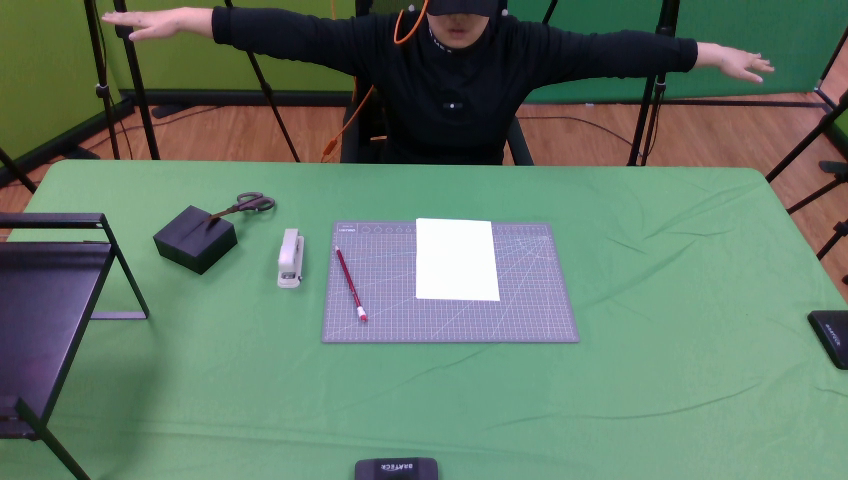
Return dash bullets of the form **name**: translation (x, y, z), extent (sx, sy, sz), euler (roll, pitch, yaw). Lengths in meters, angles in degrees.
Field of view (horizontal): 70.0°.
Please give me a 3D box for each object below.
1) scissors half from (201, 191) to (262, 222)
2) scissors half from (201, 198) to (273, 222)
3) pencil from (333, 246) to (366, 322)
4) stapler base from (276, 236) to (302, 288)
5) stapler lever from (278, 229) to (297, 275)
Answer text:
- **scissors half**: translation (-0.381, -0.066, 1.198), extent (0.040, 0.013, 0.175), euler (25, 28, 9)
- **scissors half**: translation (-0.365, -0.055, 1.192), extent (0.040, 0.013, 0.175), euler (39, 32, 22)
- **pencil**: translation (-0.140, 0.076, 1.117), extent (0.012, 0.012, 0.192), euler (-14, 48, -17)
- **stapler base**: translation (-0.254, 0.034, 1.144), extent (0.041, 0.024, 0.129), euler (1, 44, -7)
- **stapler lever**: translation (-0.254, 0.016, 1.128), extent (0.027, 0.040, 0.117), euler (1, 45, -7)
